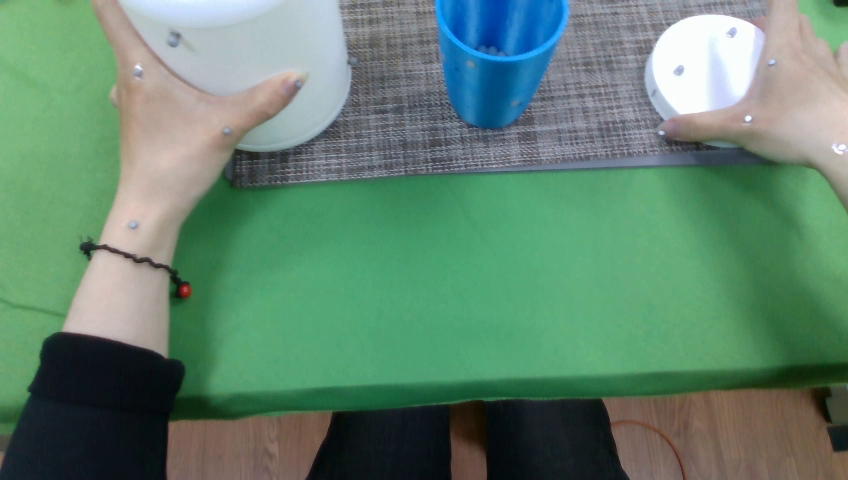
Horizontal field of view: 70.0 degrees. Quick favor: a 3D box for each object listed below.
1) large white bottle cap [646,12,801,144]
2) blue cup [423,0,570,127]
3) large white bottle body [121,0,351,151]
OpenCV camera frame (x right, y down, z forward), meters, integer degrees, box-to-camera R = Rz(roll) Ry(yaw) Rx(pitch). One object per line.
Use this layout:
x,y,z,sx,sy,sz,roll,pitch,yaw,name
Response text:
0.234,-0.129,0.475,0.115,0.018,0.114,0,68,0,large white bottle cap
0.050,-0.131,0.429,0.092,0.101,0.092,0,69,1,blue cup
-0.120,-0.157,0.390,0.131,0.186,0.129,0,68,-1,large white bottle body
